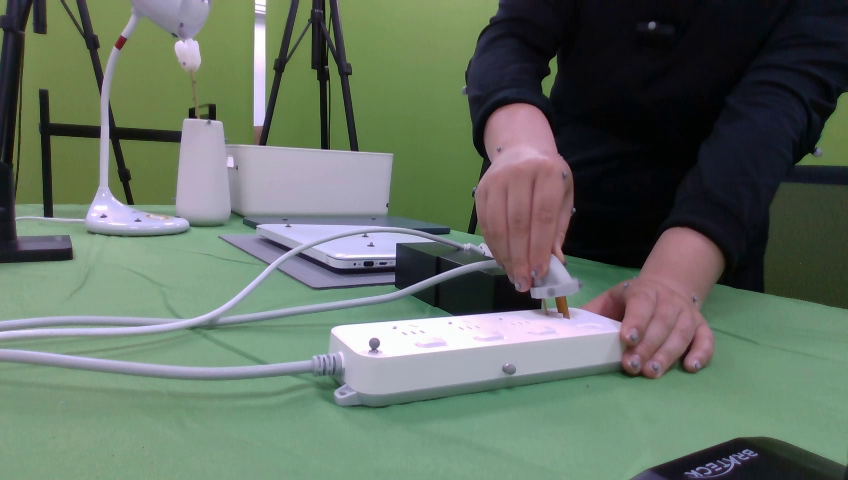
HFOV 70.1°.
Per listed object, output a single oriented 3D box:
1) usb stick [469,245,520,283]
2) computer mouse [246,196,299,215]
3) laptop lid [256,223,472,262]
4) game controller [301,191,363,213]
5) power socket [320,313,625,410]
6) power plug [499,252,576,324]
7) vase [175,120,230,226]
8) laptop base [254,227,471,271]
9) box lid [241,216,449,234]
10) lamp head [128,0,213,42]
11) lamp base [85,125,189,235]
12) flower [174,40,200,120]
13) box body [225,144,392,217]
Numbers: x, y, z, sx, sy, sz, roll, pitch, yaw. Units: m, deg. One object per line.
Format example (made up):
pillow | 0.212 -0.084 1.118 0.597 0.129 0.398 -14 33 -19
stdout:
usb stick | 0.080 0.030 0.671 0.059 0.021 0.027 27 21 -27
computer mouse | -0.355 -0.082 1.417 0.117 0.041 0.063 1 9 7
laptop lid | -0.093 0.000 0.911 0.243 0.013 0.355 1 7 -30
game controller | -0.240 -0.098 1.550 0.155 0.051 0.097 3 10 5
power socket | 0.039 0.076 0.409 0.228 0.032 0.072 -1 7 -27
power plug | 0.089 0.036 0.468 0.035 0.052 0.072 -5 7 -15
vase | -0.425 -0.128 1.158 0.098 0.200 0.098 2 9 0
laptop base | -0.096 0.012 0.911 0.237 0.023 0.352 2 6 -32
box lid | -0.162 -0.030 1.233 0.373 0.015 0.262 -1 8 -32
lamp head | -0.423 -0.394 0.980 0.123 0.112 0.112 20 7 -3
lamp base | -0.498 -0.105 1.026 0.179 0.180 0.160 1 7 3
flower | -0.433 -0.211 1.167 0.044 0.361 0.038 -9 -4 -22
box body | -0.289 -0.143 1.474 0.366 0.160 0.253 -1 9 -29
